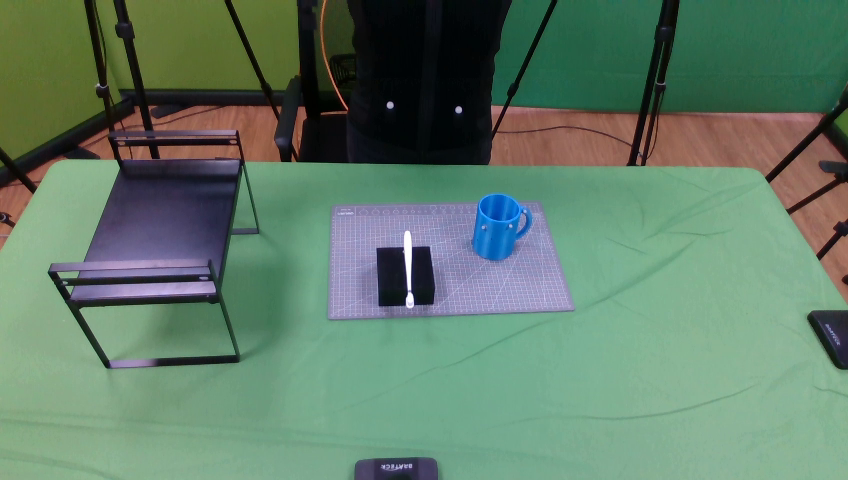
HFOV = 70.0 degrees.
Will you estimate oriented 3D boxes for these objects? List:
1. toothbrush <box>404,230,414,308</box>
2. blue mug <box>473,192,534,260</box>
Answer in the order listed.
[{"bbox_3d":[-0.028,0.046,1.082,0.014,0.017,0.180,-5,46,1],"label":"toothbrush"},{"bbox_3d":[0.156,-0.029,1.173,0.117,0.106,0.082,-8,47,-11],"label":"blue mug"}]
